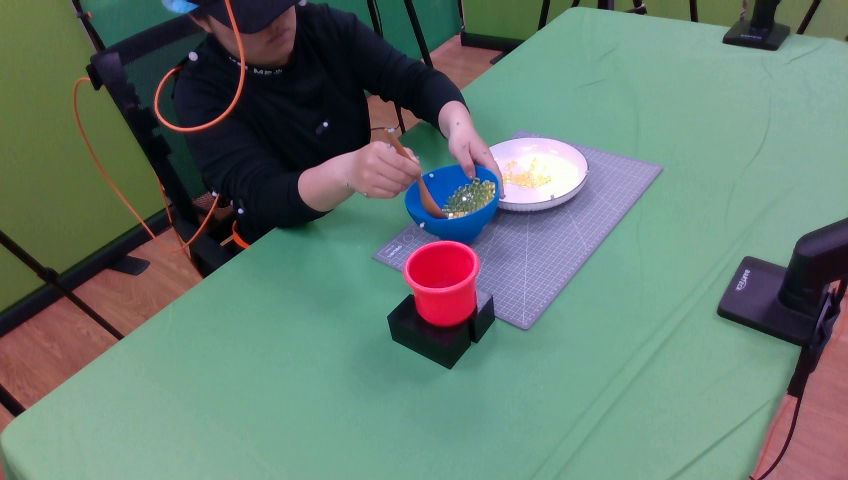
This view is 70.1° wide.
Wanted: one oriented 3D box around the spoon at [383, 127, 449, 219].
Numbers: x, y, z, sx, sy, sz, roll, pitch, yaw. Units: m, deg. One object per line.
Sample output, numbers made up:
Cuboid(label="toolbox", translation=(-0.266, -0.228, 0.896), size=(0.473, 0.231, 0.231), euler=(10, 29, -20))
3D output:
Cuboid(label="spoon", translation=(-0.011, -0.089, 0.848), size=(0.041, 0.195, 0.021), euler=(24, 65, 41))

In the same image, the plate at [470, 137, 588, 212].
Cuboid(label="plate", translation=(0.181, -0.111, 1.064), size=(0.207, 0.039, 0.206), euler=(-5, 40, 5))

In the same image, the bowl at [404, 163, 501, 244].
Cuboid(label="bowl", translation=(0.050, -0.048, 0.943), size=(0.151, 0.077, 0.150), euler=(-8, 38, 7))
